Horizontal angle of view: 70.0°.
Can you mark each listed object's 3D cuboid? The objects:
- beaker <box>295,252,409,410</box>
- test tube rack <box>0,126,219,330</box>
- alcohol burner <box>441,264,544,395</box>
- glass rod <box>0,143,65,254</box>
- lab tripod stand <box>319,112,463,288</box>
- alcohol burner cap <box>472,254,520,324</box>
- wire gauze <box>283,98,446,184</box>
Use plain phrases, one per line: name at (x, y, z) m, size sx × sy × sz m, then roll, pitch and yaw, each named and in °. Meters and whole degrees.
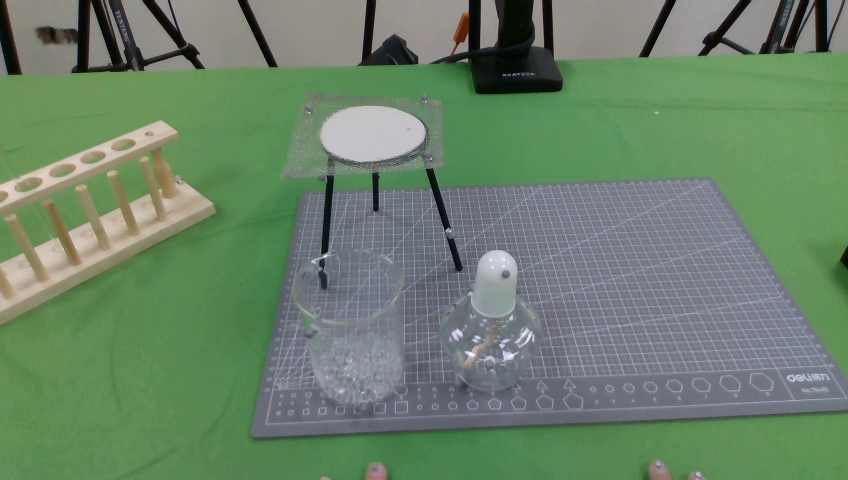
beaker at (-0.051, 0.068, 0.442) m, size 0.083 × 0.101 × 0.074 m, roll 30°, pitch 49°, yaw 32°
test tube rack at (-0.322, -0.013, 0.558) m, size 0.066 × 0.086 × 0.242 m, roll 31°, pitch 50°, yaw 33°
alcohol burner at (0.051, 0.058, 0.441) m, size 0.078 × 0.120 × 0.077 m, roll 0°, pitch 42°, yaw 0°
glass rod at (-0.357, -0.066, 0.519) m, size 0.008 × 0.201 × 0.008 m, roll -5°, pitch 37°, yaw 4°
lab tripod stand at (-0.034, -0.035, 0.537) m, size 0.148 × 0.132 × 0.147 m, roll 1°, pitch 39°, yaw 0°
alcohol burner cap at (0.051, 0.031, 0.418) m, size 0.034 × 0.048 × 0.033 m, roll 2°, pitch 42°, yaw -1°
wire gauze at (-0.043, -0.084, 0.491) m, size 0.121 × 0.011 × 0.124 m, roll 0°, pitch 41°, yaw 0°
